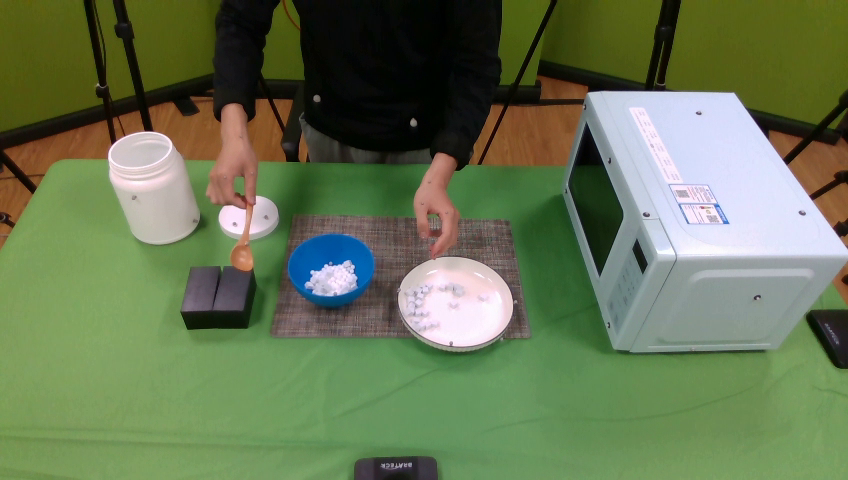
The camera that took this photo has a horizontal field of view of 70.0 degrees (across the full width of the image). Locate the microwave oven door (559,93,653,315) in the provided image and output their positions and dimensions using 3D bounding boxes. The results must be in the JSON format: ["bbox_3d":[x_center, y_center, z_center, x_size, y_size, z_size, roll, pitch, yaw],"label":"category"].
[{"bbox_3d":[0.327,-0.074,1.123,0.039,0.245,0.353,-1,46,-5],"label":"microwave oven door"}]

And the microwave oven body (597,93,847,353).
[{"bbox_3d":[0.475,-0.041,1.109,0.326,0.261,0.438,-1,45,-4],"label":"microwave oven body"}]

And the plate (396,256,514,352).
[{"bbox_3d":[0.053,0.116,1.077,0.209,0.038,0.208,2,46,-2],"label":"plate"}]

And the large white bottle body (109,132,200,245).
[{"bbox_3d":[-0.506,-0.097,1.141,0.131,0.185,0.130,2,46,-2],"label":"large white bottle body"}]

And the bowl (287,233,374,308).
[{"bbox_3d":[-0.165,0.068,1.078,0.151,0.077,0.150,3,45,-3],"label":"bowl"}]

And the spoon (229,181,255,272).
[{"bbox_3d":[-0.309,-0.027,1.056,0.042,0.021,0.192,20,53,-30],"label":"spoon"}]

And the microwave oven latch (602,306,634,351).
[{"bbox_3d":[0.332,0.153,1.044,0.030,0.029,0.078,0,45,-4],"label":"microwave oven latch"}]

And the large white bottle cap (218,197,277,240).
[{"bbox_3d":[-0.355,-0.045,1.220,0.115,0.018,0.114,2,45,-2],"label":"large white bottle cap"}]
